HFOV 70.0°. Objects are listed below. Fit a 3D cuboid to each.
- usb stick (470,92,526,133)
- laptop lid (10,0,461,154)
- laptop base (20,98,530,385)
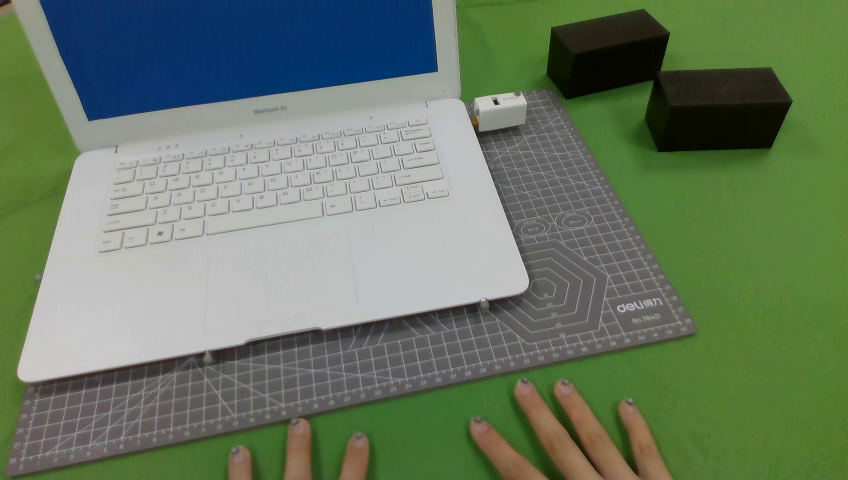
[{"bbox_3d":[0.062,-0.115,0.552,0.059,0.027,0.021,-12,49,-4],"label":"usb stick"},{"bbox_3d":[-0.148,-0.199,0.501,0.357,0.244,0.013,-11,34,-4],"label":"laptop lid"},{"bbox_3d":[-0.116,-0.015,0.490,0.355,0.023,0.233,-10,52,-5],"label":"laptop base"}]
